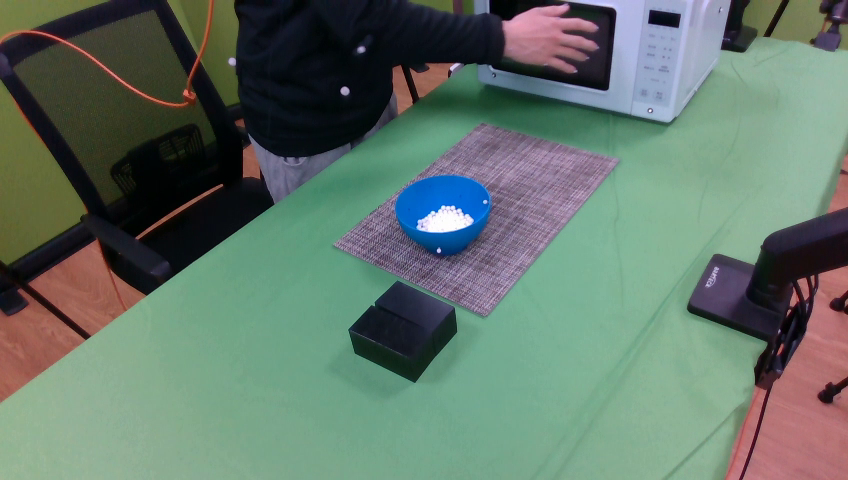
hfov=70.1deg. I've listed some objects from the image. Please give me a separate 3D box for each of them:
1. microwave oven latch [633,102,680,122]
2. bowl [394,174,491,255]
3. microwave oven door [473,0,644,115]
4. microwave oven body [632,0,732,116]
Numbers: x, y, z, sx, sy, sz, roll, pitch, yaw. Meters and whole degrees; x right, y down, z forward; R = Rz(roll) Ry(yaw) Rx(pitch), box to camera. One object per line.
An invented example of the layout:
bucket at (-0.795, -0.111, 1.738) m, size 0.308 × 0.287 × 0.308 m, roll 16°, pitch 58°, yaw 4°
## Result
microwave oven latch at (0.444, -0.249, 1.157) m, size 0.078 × 0.029 × 0.030 m, roll 22°, pitch 49°, yaw 30°
bowl at (0.032, -0.030, 0.949) m, size 0.151 × 0.077 × 0.150 m, roll -4°, pitch 40°, yaw 4°
microwave oven door at (0.257, -0.396, 1.199) m, size 0.353 × 0.245 × 0.039 m, roll 21°, pitch 48°, yaw 29°
microwave oven body at (0.377, -0.462, 1.267) m, size 0.438 × 0.261 × 0.327 m, roll 21°, pitch 48°, yaw 30°
